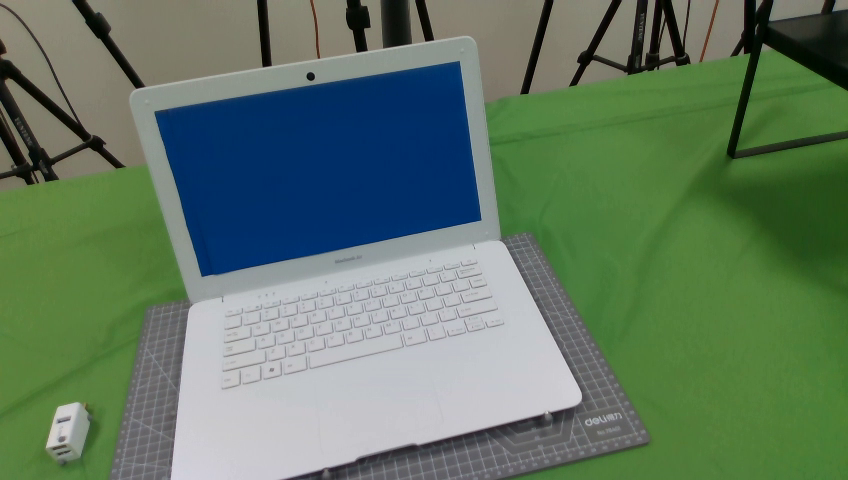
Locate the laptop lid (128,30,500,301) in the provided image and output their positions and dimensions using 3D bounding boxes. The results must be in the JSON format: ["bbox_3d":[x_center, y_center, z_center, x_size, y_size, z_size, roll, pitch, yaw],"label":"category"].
[{"bbox_3d":[-0.101,-0.075,0.645,0.357,0.243,0.013,-13,18,-7],"label":"laptop lid"}]

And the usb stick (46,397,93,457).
[{"bbox_3d":[-0.319,0.163,0.549,0.021,0.027,0.058,-15,37,-3],"label":"usb stick"}]

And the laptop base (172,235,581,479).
[{"bbox_3d":[-0.056,0.105,0.593,0.355,0.023,0.233,-12,42,-7],"label":"laptop base"}]
